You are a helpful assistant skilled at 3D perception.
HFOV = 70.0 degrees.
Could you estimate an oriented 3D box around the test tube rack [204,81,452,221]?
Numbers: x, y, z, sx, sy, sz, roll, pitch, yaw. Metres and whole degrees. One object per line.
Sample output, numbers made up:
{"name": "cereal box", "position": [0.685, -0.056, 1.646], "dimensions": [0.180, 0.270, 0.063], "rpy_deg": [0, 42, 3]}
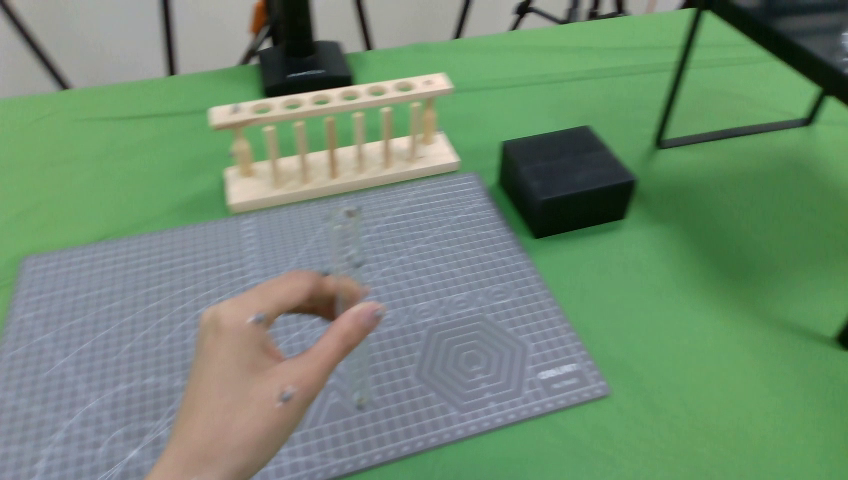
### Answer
{"name": "test tube rack", "position": [-0.094, -0.096, 0.636], "dimensions": [0.243, 0.086, 0.066], "rpy_deg": [-13, 43, -13]}

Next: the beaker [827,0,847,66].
{"name": "beaker", "position": [0.353, -0.181, 0.447], "dimensions": [0.084, 0.101, 0.073], "rpy_deg": [-13, 43, -12]}

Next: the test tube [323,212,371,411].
{"name": "test tube", "position": [-0.040, 0.048, 0.332], "dimensions": [0.017, 0.151, 0.017], "rpy_deg": [0, 41, 0]}
